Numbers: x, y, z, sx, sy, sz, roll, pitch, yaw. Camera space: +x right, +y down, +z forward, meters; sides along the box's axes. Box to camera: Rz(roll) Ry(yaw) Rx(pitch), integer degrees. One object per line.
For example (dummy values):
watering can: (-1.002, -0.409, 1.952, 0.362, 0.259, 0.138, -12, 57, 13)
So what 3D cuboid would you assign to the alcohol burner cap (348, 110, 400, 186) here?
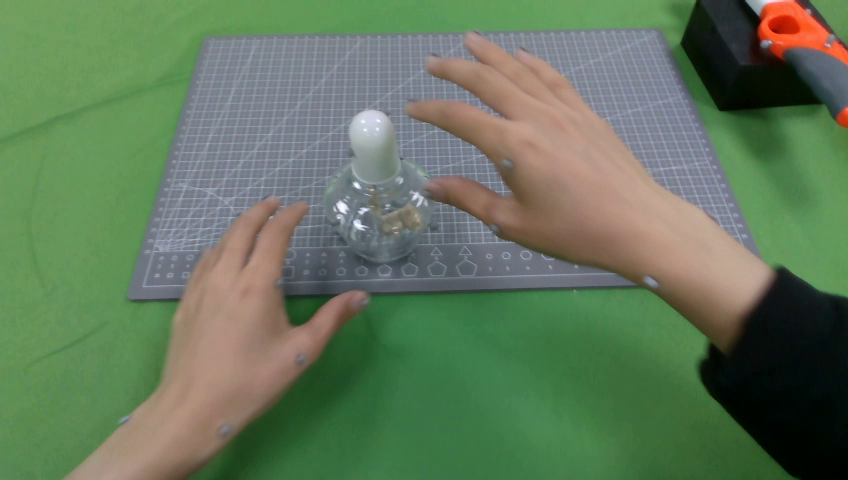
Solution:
alcohol burner cap: (-0.033, -0.060, 0.378, 0.034, 0.048, 0.033, 0, 57, 0)

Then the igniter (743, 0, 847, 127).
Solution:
igniter: (0.305, -0.190, 0.518, 0.057, 0.025, 0.273, -7, 52, -2)

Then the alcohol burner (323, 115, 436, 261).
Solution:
alcohol burner: (-0.031, -0.039, 0.406, 0.078, 0.120, 0.077, 0, 55, 1)
